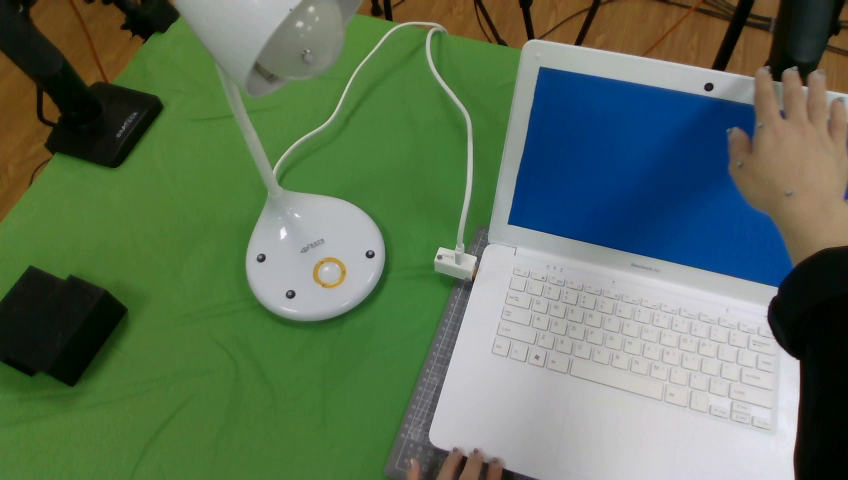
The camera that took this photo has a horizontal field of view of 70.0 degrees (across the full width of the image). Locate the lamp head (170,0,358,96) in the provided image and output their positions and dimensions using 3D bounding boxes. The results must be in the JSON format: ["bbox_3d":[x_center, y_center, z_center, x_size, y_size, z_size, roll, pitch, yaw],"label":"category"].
[{"bbox_3d":[-0.110,-0.165,0.364,0.123,0.112,0.112,43,69,-2],"label":"lamp head"}]

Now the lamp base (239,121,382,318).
[{"bbox_3d":[-0.142,-0.030,0.638,0.160,0.182,0.177,-39,62,-18],"label":"lamp base"}]

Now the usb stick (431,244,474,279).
[{"bbox_3d":[0.038,0.026,0.675,0.059,0.027,0.021,17,57,9],"label":"usb stick"}]

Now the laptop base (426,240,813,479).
[{"bbox_3d":[0.201,0.140,0.616,0.353,0.023,0.234,14,66,10],"label":"laptop base"}]

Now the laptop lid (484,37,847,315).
[{"bbox_3d":[0.248,-0.058,0.610,0.356,0.243,0.013,12,31,11],"label":"laptop lid"}]
